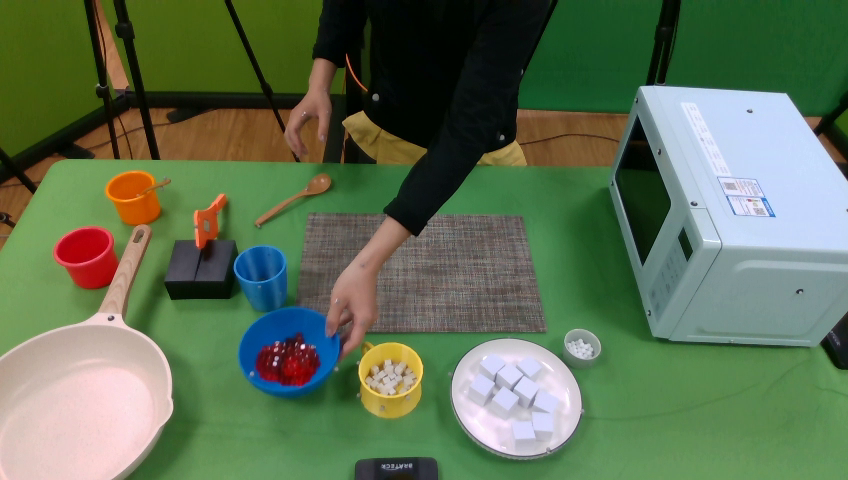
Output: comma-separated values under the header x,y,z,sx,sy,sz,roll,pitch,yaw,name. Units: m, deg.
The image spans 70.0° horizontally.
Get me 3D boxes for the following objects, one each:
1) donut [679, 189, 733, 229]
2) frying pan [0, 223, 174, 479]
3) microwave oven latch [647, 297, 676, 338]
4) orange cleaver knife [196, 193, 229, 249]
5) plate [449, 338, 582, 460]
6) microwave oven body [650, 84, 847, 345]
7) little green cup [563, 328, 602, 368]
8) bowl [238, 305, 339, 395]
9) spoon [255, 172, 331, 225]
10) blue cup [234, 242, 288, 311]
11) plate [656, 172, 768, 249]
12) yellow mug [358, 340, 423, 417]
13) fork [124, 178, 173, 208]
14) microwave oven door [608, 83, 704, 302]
x,y,z,sx,sy,sz,roll,pitch,yaw,name
0.545,-0.062,1.175,0.099,0.048,0.098,1,44,-1,donut
-0.504,0.169,0.941,0.307,0.103,0.485,5,54,-1,frying pan
0.413,0.133,1.060,0.030,0.029,0.078,5,46,2,microwave oven latch
-0.405,-0.041,1.163,0.012,0.077,0.210,1,18,-3,orange cleaver knife
0.141,0.251,0.955,0.208,0.039,0.206,2,46,-2,plate
0.569,-0.054,1.116,0.326,0.261,0.439,2,46,-1,microwave oven body
0.266,0.185,1.025,0.061,0.039,0.061,1,45,-1,little green cup
-0.205,0.184,0.940,0.151,0.077,0.150,3,47,-3,bowl
-0.272,-0.087,1.257,0.041,0.022,0.193,43,57,16,spoon
-0.276,0.071,1.052,0.093,0.101,0.092,1,48,-1,blue cup
0.557,-0.054,1.186,0.209,0.038,0.208,1,44,-1,plate
-0.062,0.209,0.961,0.100,0.064,0.130,-29,54,-27,yellow mug
-0.525,-0.090,1.153,0.207,0.019,0.028,-17,27,45,fork
0.424,-0.096,1.138,0.039,0.245,0.353,2,47,-1,microwave oven door
